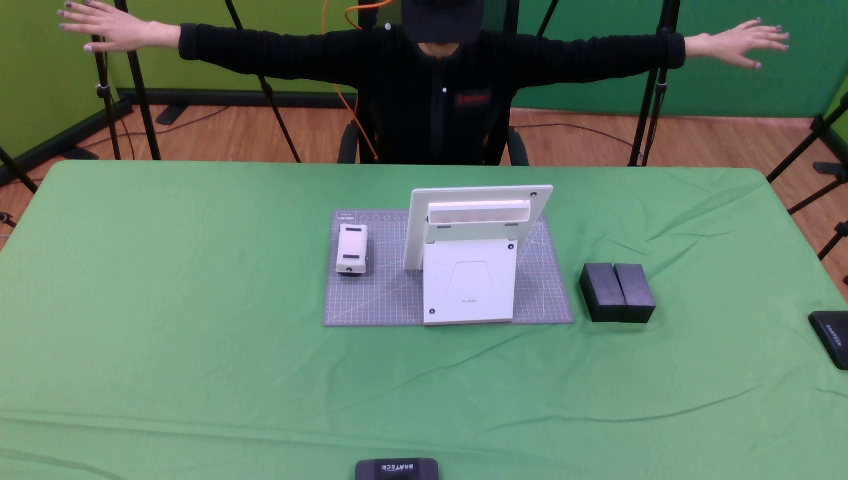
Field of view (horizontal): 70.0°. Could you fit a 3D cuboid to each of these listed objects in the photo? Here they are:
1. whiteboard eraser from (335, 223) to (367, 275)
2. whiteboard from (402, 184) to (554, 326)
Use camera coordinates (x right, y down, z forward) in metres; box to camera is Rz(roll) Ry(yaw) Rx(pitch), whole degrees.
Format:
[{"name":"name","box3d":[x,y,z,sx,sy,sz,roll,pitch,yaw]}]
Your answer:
[{"name":"whiteboard eraser","box3d":[-0.139,0.017,1.153,0.055,0.042,0.112,1,46,-3]},{"name":"whiteboard","box3d":[0.081,0.044,1.005,0.217,0.306,0.143,-1,66,-6]}]
